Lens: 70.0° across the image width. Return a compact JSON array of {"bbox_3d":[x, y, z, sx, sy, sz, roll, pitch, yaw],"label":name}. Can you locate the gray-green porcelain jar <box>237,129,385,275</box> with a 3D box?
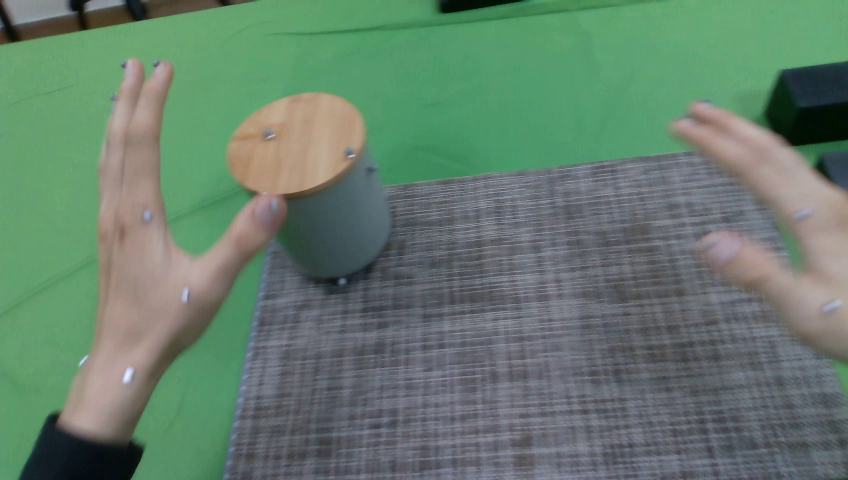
[{"bbox_3d":[-0.093,-0.038,0.524,0.106,0.128,0.105,-5,54,7],"label":"gray-green porcelain jar"}]

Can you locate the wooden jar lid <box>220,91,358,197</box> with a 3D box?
[{"bbox_3d":[-0.104,-0.074,0.475,0.108,0.021,0.107,-3,56,6],"label":"wooden jar lid"}]
